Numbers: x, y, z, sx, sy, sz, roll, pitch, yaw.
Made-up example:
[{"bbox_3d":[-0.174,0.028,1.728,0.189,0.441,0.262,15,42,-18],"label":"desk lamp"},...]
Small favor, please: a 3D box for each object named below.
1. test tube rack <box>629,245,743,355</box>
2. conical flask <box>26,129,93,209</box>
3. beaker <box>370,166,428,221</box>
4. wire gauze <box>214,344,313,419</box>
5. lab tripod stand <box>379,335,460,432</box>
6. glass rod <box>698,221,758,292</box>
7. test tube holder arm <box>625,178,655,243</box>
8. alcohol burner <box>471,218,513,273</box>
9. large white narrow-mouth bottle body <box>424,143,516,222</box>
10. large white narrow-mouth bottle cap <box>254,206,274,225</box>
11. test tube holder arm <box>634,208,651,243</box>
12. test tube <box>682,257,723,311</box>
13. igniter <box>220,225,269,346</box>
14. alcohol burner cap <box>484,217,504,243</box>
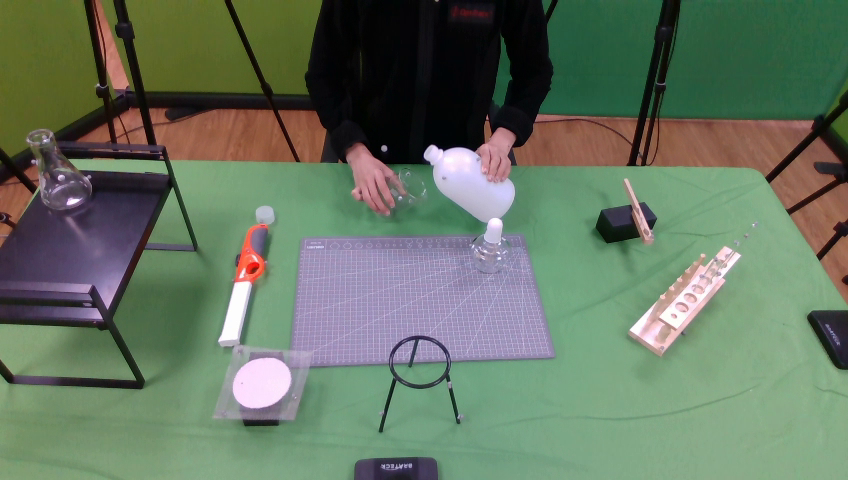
[{"bbox_3d":[0.474,0.095,1.091,0.242,0.085,0.066,-34,56,-31],"label":"test tube rack"},{"bbox_3d":[-0.575,-0.113,0.946,0.075,0.122,0.075,2,46,-2],"label":"conical flask"},{"bbox_3d":[-0.051,-0.088,1.216,0.084,0.100,0.073,33,41,-29],"label":"beaker"},{"bbox_3d":[-0.241,0.213,0.916,0.121,0.011,0.124,5,46,1],"label":"wire gauze"},{"bbox_3d":[-0.011,0.214,0.911,0.148,0.132,0.147,1,45,0],"label":"lab tripod stand"},{"bbox_3d":[0.527,0.035,1.059,0.008,0.200,0.008,5,49,-6],"label":"glass rod"},{"bbox_3d":[0.433,-0.062,1.220,0.013,0.015,0.177,1,47,-3],"label":"test tube holder arm"},{"bbox_3d":[0.128,0.005,1.132,0.078,0.120,0.077,0,47,0],"label":"alcohol burner"},{"bbox_3d":[0.081,-0.122,1.176,0.195,0.102,0.101,34,40,-25],"label":"large white narrow-mouth bottle body"},{"bbox_3d":[-0.323,-0.049,1.222,0.038,0.024,0.037,2,47,-2],"label":"large white narrow-mouth bottle cap"},{"bbox_3d":[0.428,-0.030,1.189,0.010,0.015,0.087,1,47,-2],"label":"test tube holder arm"},{"bbox_3d":[0.475,0.080,1.037,0.017,0.151,0.017,1,50,-1],"label":"test tube"},{"bbox_3d":[-0.323,0.072,1.100,0.057,0.025,0.275,-6,46,5],"label":"igniter"},{"bbox_3d":[0.129,-0.021,1.107,0.034,0.048,0.033,4,40,-3],"label":"alcohol burner cap"}]
